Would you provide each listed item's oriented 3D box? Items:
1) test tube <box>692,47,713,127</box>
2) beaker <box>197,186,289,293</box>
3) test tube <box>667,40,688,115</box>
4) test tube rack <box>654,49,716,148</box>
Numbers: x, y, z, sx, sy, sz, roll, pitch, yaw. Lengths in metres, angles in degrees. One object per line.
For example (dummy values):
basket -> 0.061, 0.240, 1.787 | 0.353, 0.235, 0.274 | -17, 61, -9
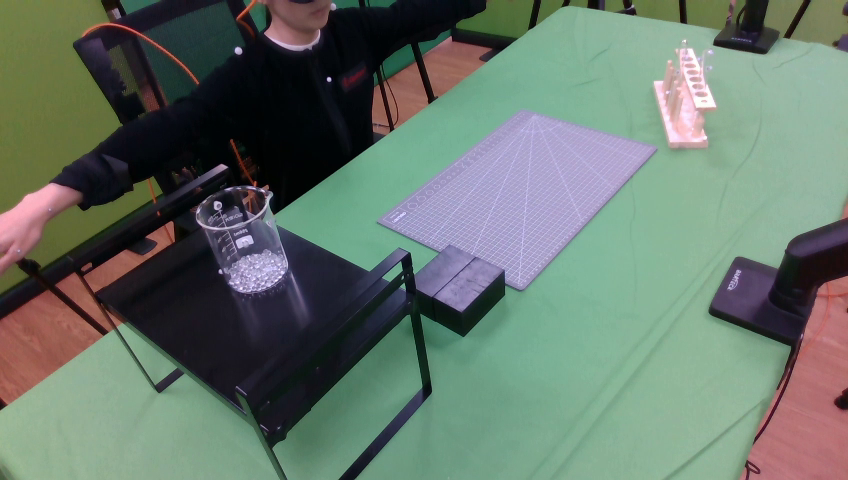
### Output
test tube -> 0.501, -0.272, 1.090 | 0.017, 0.151, 0.017 | -5, 37, 4
beaker -> -0.192, 0.001, 0.666 | 0.084, 0.101, 0.073 | -33, 47, -27
test tube -> 0.477, -0.303, 1.138 | 0.017, 0.151, 0.017 | -5, 42, 5
test tube rack -> 0.502, -0.281, 1.176 | 0.066, 0.085, 0.241 | 1, 41, 11
